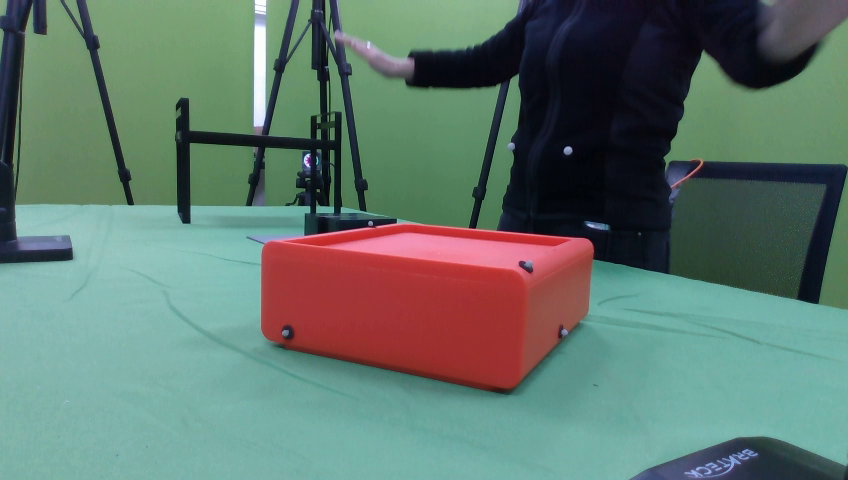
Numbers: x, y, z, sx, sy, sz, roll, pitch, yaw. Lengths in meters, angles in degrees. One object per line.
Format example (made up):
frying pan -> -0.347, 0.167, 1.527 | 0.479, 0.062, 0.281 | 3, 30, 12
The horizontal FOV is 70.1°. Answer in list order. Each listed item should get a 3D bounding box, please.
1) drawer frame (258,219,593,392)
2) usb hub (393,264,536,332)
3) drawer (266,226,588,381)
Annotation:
drawer frame -> 0.015, 0.036, 0.492 | 0.201, 0.082, 0.214 | 6, 9, 24
usb hub -> 0.033, 0.048, 0.534 | 0.124, 0.025, 0.050 | 16, 14, 39
drawer -> 0.015, 0.038, 0.494 | 0.194, 0.073, 0.212 | 6, 9, 25
